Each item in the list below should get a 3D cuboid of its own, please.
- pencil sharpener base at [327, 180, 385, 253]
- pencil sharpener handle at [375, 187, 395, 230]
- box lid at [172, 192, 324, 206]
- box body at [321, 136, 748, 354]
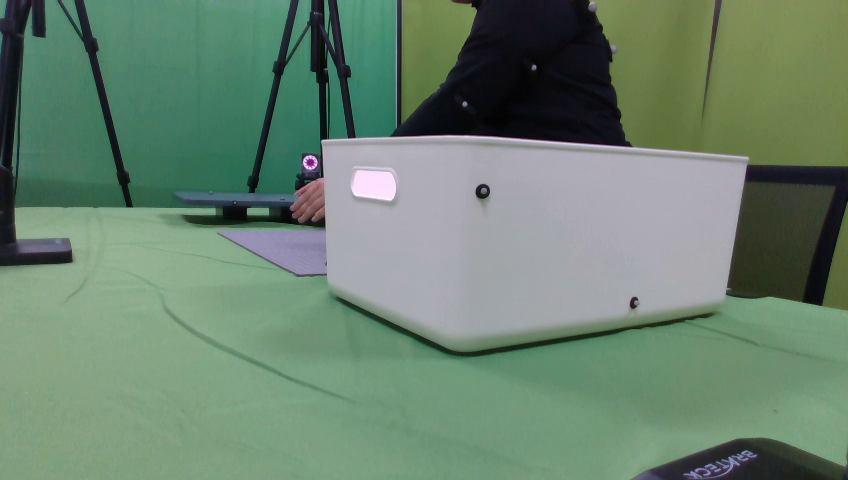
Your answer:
[{"bbox_3d":[-0.103,-0.037,0.932,0.077,0.107,0.061,-1,7,-30],"label":"pencil sharpener base"},{"bbox_3d":[-0.059,-0.050,0.957,0.031,0.067,0.036,-1,13,-30],"label":"pencil sharpener handle"},{"bbox_3d":[-0.355,-0.091,1.350,0.373,0.015,0.262,-1,8,-29],"label":"box lid"},{"bbox_3d":[0.105,-0.011,0.603,0.366,0.160,0.253,-2,8,-33],"label":"box body"}]
